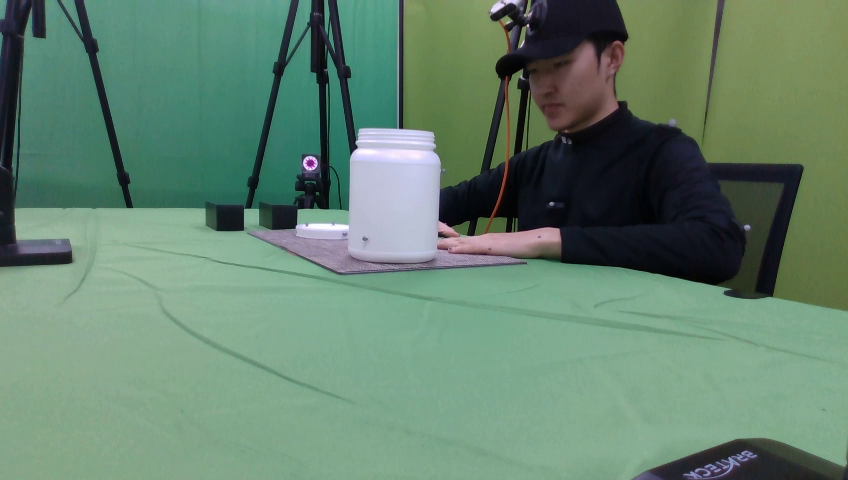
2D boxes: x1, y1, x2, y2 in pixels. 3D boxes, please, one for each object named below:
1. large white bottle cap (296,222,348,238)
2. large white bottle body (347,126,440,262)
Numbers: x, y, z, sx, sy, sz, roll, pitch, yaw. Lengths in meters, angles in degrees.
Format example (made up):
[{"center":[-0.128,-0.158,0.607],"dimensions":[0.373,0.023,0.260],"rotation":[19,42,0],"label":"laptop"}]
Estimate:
[{"center":[-0.177,-0.019,1.110],"dimensions":[0.115,0.018,0.115],"rotation":[3,7,0],"label":"large white bottle cap"},{"center":[-0.043,-0.067,0.868],"dimensions":[0.131,0.184,0.130],"rotation":[2,8,0],"label":"large white bottle body"}]
